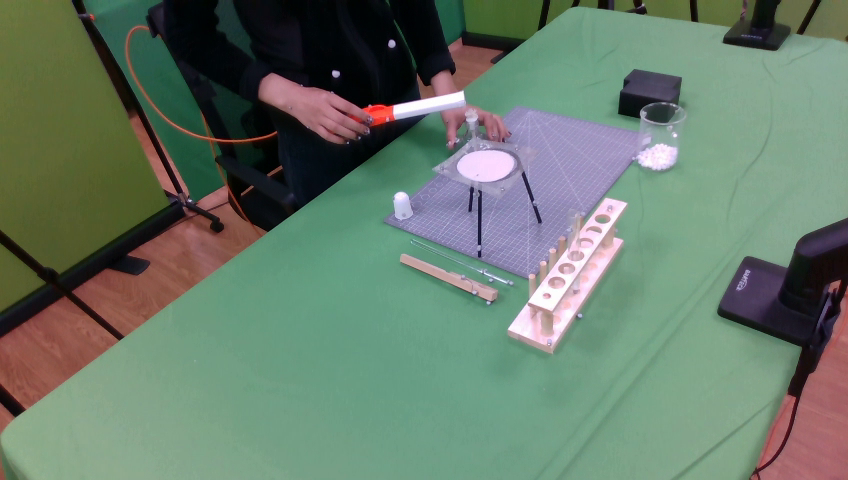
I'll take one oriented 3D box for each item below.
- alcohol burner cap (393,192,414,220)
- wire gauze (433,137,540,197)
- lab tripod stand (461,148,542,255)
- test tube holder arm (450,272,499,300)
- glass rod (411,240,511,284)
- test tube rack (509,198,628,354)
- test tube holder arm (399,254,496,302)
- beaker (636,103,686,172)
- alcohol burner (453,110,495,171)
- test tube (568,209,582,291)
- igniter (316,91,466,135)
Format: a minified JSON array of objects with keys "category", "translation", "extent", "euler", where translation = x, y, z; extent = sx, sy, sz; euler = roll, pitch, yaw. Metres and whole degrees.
[{"category":"alcohol burner cap","translation":[-0.038,-0.061,1.043],"extent":[0.034,0.048,0.033],"euler":[-6,41,5]},{"category":"wire gauze","translation":[0.094,-0.116,0.907],"extent":[0.124,0.011,0.122],"euler":[21,47,30]},{"category":"lab tripod stand","translation":[0.114,-0.069,0.953],"extent":[0.148,0.132,0.147],"euler":[-5,38,4]},{"category":"test tube holder arm","translation":[0.071,0.068,0.895],"extent":[0.087,0.015,0.010],"euler":[21,15,32]},{"category":"glass rod","translation":[0.053,0.033,0.946],"extent":[0.198,0.008,0.008],"euler":[22,50,36]},{"category":"test tube rack","translation":[0.206,0.039,0.850],"extent":[0.066,0.085,0.243],"euler":[20,48,31]},{"category":"test tube holder arm","translation":[0.032,0.055,0.914],"extent":[0.177,0.015,0.013],"euler":[21,15,32]},{"category":"beaker","translation":[0.413,-0.177,1.055],"extent":[0.084,0.101,0.073],"euler":[-28,44,-21]},{"category":"alcohol burner","translation":[0.091,-0.187,1.112],"extent":[0.078,0.119,0.077],"euler":[-4,41,4]},{"category":"test tube","translation":[0.200,0.017,0.799],"extent":[0.017,0.151,0.017],"euler":[-8,45,8]},{"category":"igniter","translation":[-0.063,-0.225,1.076],"extent":[0.276,0.025,0.057],"euler":[-9,44,10]}]
